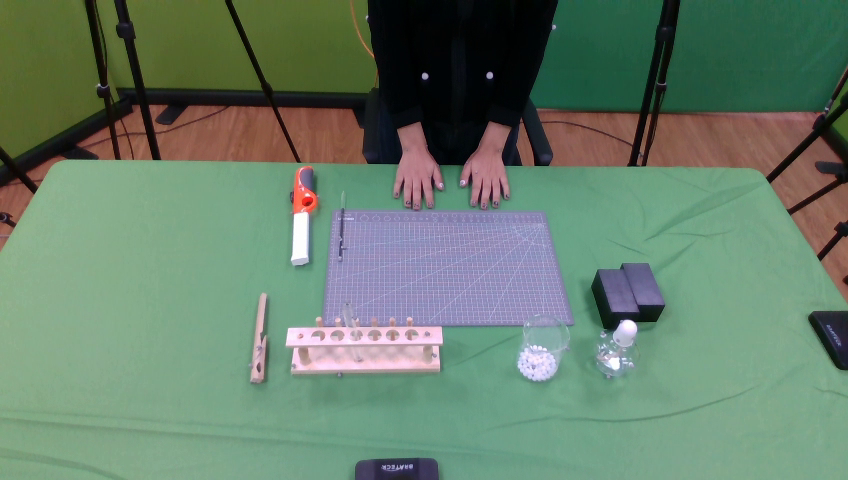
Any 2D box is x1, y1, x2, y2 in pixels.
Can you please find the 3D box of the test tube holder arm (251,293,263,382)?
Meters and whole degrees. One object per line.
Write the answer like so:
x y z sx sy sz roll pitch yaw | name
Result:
-0.281 0.159 1.025 0.013 0.015 0.177 23 36 -33 | test tube holder arm

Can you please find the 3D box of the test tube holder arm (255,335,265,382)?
-0.270 0.193 0.997 0.010 0.015 0.087 24 36 -32 | test tube holder arm

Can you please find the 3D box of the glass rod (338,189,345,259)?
-0.166 -0.036 1.227 0.008 0.008 0.198 -1 47 -4 | glass rod

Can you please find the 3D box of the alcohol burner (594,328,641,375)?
0.322 0.170 0.994 0.078 0.119 0.077 3 48 -3 | alcohol burner

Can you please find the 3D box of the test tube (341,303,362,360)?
-0.111 0.145 0.938 0.017 0.151 0.017 -1 50 2 | test tube

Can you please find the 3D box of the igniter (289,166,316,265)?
-0.248 -0.058 1.233 0.057 0.025 0.274 -9 47 1 | igniter

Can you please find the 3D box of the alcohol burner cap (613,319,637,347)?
0.323 0.146 0.966 0.034 0.048 0.033 -1 52 2 | alcohol burner cap

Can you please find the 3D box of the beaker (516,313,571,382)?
0.190 0.180 0.985 0.073 0.101 0.084 30 52 24 | beaker

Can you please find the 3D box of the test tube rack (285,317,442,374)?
-0.095 0.166 0.988 0.242 0.085 0.066 0 46 -4 | test tube rack
